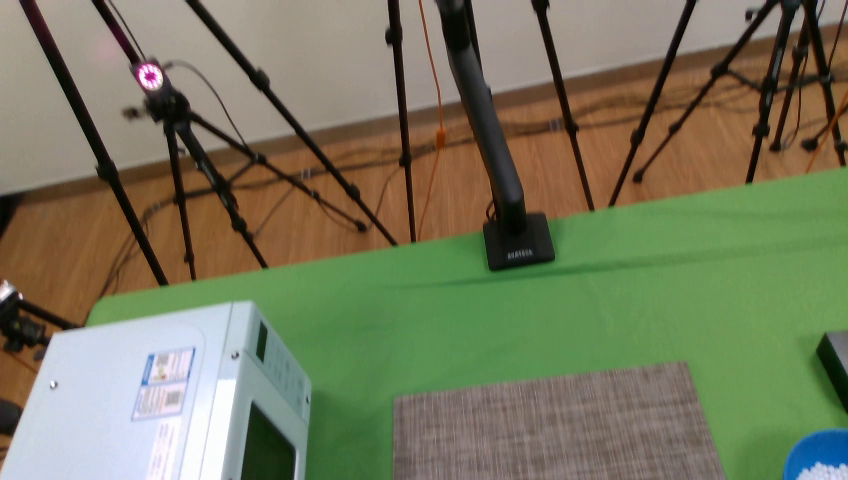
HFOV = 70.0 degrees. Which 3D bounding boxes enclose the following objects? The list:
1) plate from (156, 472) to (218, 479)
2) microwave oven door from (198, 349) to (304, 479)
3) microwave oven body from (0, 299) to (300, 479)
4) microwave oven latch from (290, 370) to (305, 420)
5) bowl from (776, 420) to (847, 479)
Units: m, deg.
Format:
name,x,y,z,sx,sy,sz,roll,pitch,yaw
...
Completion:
name,x,y,z,sx,sy,sz,roll,pitch,yaw
plate,-0.331,0.413,0.793,0.207,0.039,0.205,-6,49,7
microwave oven door,-0.213,0.346,0.744,0.039,0.246,0.352,-11,49,6
microwave oven body,-0.358,0.345,0.790,0.326,0.263,0.437,-10,50,6
microwave oven latch,-0.205,0.246,0.962,0.030,0.030,0.078,-10,50,6
bowl,0.497,0.302,0.724,0.151,0.077,0.150,-7,49,9
